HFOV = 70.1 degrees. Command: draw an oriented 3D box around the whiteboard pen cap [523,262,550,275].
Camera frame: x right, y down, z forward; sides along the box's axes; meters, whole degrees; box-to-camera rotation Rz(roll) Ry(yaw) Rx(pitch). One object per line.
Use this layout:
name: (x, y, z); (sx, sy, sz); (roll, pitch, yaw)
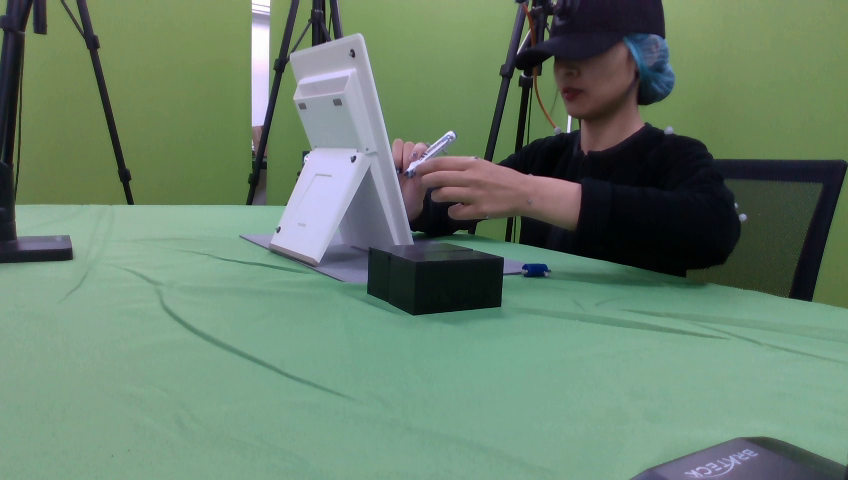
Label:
whiteboard pen cap: (0.145, 0.037, 0.776); (0.033, 0.018, 0.018); (1, 6, -31)

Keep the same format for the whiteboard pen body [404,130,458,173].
whiteboard pen body: (0.010, -0.130, 0.890); (0.017, 0.017, 0.141); (7, 34, 35)

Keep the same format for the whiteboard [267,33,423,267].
whiteboard: (-0.153, -0.098, 0.819); (0.144, 0.305, 0.216); (-25, 21, -29)
